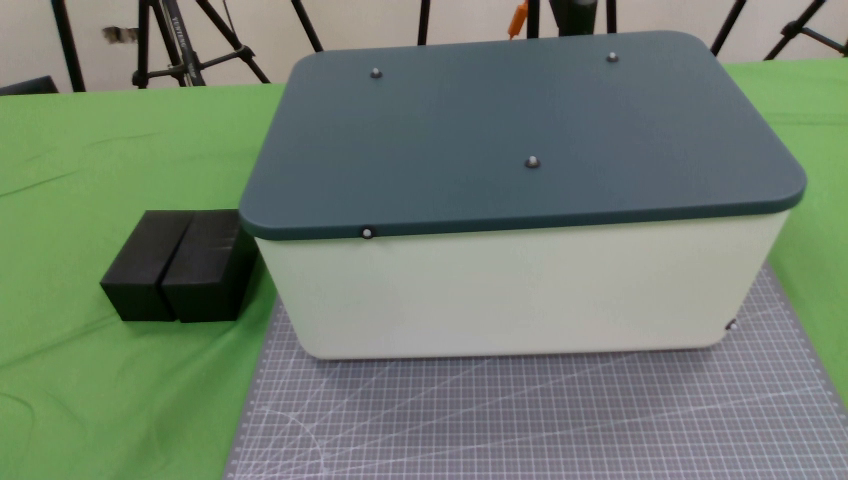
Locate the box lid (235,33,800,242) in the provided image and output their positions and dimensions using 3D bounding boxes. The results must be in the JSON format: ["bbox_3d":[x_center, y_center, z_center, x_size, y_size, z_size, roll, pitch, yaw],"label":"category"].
[{"bbox_3d":[0.056,-0.094,0.473,0.371,0.015,0.260,-3,41,3],"label":"box lid"}]

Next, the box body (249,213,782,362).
[{"bbox_3d":[0.064,-0.038,0.523,0.364,0.162,0.251,-3,42,3],"label":"box body"}]
